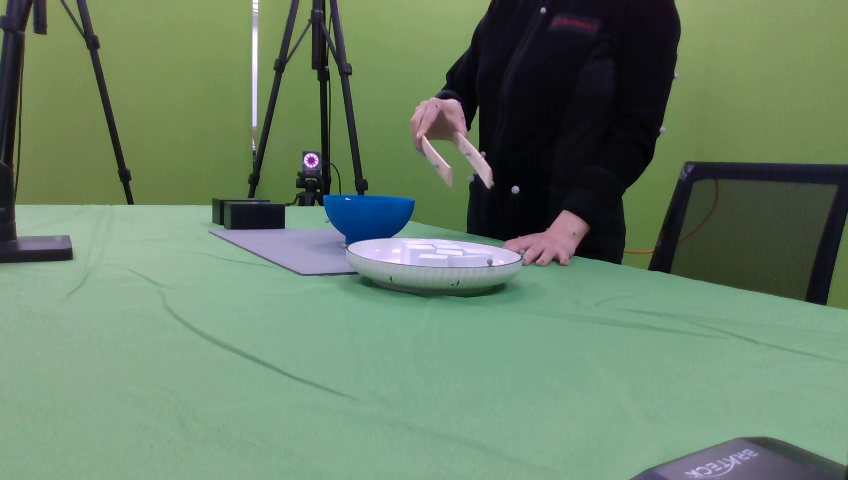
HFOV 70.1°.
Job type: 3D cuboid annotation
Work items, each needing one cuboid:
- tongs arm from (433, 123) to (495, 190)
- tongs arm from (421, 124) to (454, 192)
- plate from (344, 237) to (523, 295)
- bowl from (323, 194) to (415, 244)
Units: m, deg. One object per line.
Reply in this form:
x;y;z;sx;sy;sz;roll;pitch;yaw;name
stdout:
0.050;-0.134;0.907;0.051;0.026;0.384;-4;19;-2;tongs arm
0.019;-0.132;0.904;0.028;0.028;0.386;-8;20;-2;tongs arm
0.010;0.030;0.707;0.208;0.039;0.207;3;8;0;plate
-0.090;-0.032;0.986;0.151;0.077;0.151;2;7;0;bowl
